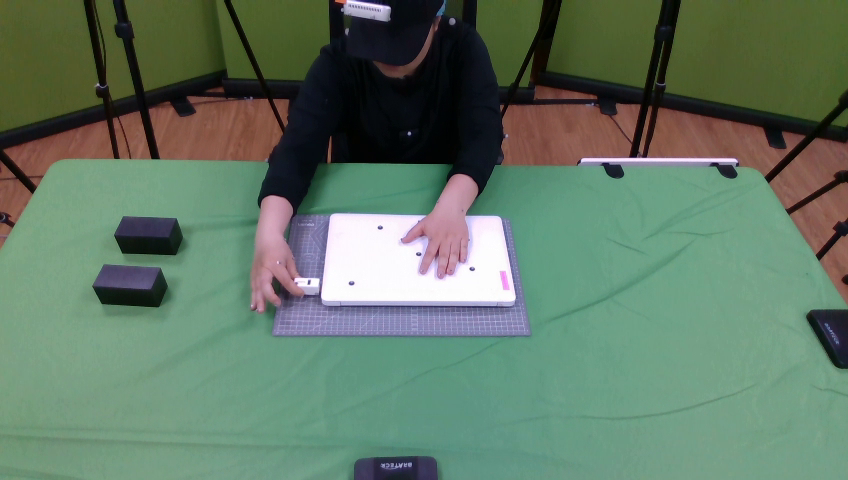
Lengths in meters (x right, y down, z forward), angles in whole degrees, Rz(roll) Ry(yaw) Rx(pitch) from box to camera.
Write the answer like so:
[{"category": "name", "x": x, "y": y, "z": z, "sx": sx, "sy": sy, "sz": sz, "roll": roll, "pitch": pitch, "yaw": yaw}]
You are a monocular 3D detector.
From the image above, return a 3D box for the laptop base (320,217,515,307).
[{"category": "laptop base", "x": -0.013, "y": 0.039, "z": 1.161, "sx": 0.355, "sy": 0.023, "sz": 0.234, "roll": 0, "pitch": 42, "yaw": -4}]

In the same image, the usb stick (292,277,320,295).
[{"category": "usb stick", "x": -0.204, "y": 0.083, "z": 1.083, "sx": 0.059, "sy": 0.027, "sz": 0.021, "roll": 6, "pitch": 50, "yaw": -6}]

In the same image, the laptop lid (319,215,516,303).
[{"category": "laptop lid", "x": -0.013, "y": 0.030, "z": 1.155, "sx": 0.357, "sy": 0.013, "sz": 0.240, "roll": 2, "pitch": 43, "yaw": -3}]
